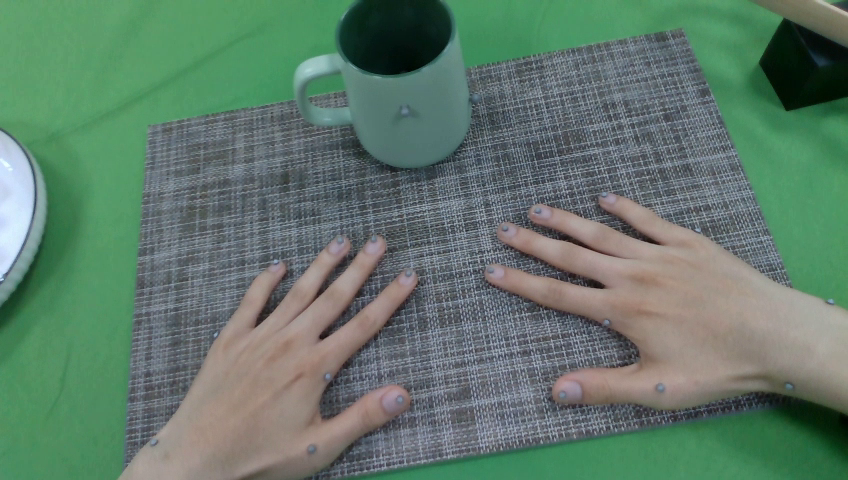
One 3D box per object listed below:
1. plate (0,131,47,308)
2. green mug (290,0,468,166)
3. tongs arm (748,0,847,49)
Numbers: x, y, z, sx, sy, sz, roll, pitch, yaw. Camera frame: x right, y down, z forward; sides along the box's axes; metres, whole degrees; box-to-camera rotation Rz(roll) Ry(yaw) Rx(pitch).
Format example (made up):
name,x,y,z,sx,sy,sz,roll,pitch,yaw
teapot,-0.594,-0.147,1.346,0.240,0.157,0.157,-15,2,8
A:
name,x,y,z,sx,sy,sz,roll,pitch,yaw
plate,-0.388,0.003,0.466,0.209,0.038,0.207,-2,65,5
green mug,-0.032,-0.110,0.434,0.125,0.106,0.091,-11,65,1
tongs arm,0.338,-0.112,0.389,0.385,0.028,0.028,37,82,19
